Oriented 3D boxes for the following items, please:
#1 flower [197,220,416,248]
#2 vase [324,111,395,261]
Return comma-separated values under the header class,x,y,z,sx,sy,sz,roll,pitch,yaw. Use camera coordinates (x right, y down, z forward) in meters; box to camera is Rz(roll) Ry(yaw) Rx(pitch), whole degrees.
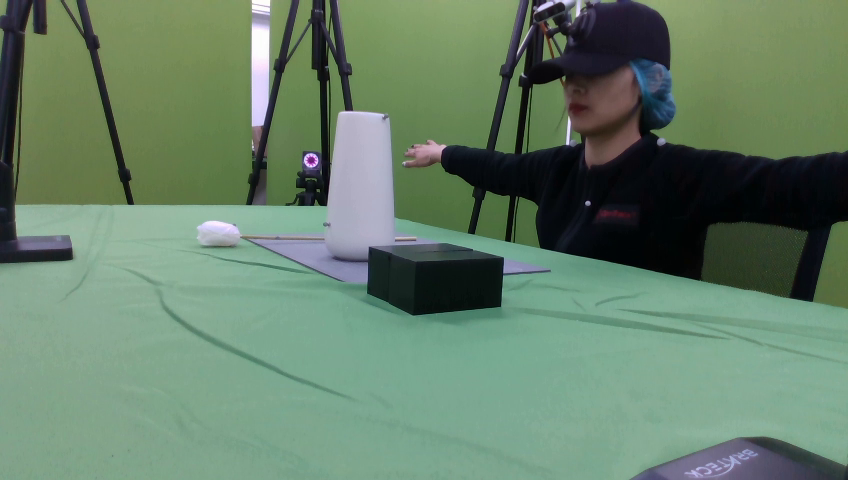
class,x,y,z,sx,sy,sz,roll,pitch,yaw
flower,-0.174,-0.001,0.978,0.364,0.038,0.044,4,-31,-29
vase,-0.087,-0.074,0.828,0.098,0.200,0.098,2,9,0
